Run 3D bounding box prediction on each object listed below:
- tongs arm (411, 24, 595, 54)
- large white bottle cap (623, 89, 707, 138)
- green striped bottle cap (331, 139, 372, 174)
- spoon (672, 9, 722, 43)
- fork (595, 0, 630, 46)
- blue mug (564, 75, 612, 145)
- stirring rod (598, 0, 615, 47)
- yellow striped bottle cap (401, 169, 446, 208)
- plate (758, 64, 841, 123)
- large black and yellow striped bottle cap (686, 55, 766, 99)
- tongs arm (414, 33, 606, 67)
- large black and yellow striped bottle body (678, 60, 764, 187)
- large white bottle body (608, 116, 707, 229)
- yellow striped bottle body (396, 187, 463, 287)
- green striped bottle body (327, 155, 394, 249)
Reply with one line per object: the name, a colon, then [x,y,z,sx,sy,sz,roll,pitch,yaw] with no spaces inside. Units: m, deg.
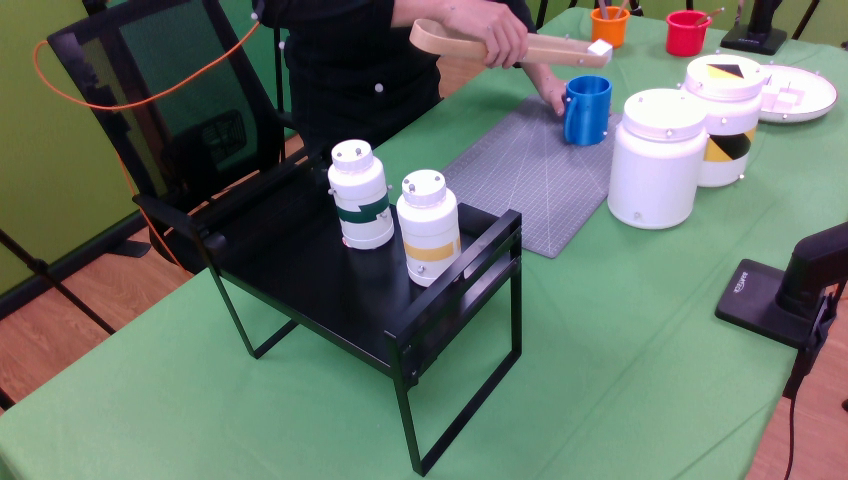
tongs arm: [0.145,-0.313,0.978,0.388,0.026,0.050,-4,47,-30]
large white bottle cap: [0.352,-0.187,0.886,0.115,0.018,0.114,-4,41,4]
green striped bottle cap: [-0.080,-0.092,0.665,0.044,0.020,0.044,-3,40,3]
spoon: [0.606,-0.476,1.345,0.042,0.021,0.193,-6,-3,-2]
fork: [0.480,-0.556,1.453,0.028,0.019,0.207,41,103,40]
blue mug: [0.300,-0.238,1.142,0.081,0.106,0.117,28,53,34]
stirring rod: [0.437,-0.551,1.462,0.014,0.006,0.175,-11,83,1]
yellow striped bottle cap: [0.000,-0.052,0.605,0.044,0.019,0.044,-4,42,4]
plate: [0.694,-0.283,1.189,0.207,0.039,0.206,-4,40,4]
large black and yellow striped bottle cap: [0.474,-0.258,0.952,0.115,0.019,0.114,-5,41,5]
tongs arm: [0.156,-0.297,0.966,0.390,0.028,0.028,-7,52,-33]
large black and yellow striped bottle body: [0.483,-0.196,1.008,0.131,0.185,0.130,-4,41,4]
large white bottle body: [0.361,-0.123,0.941,0.130,0.185,0.130,-5,41,4]
yellow striped bottle body: [0.006,-0.013,0.638,0.063,0.121,0.062,-4,41,4]
green striped bottle body: [-0.073,-0.053,0.699,0.063,0.120,0.063,-4,41,4]
